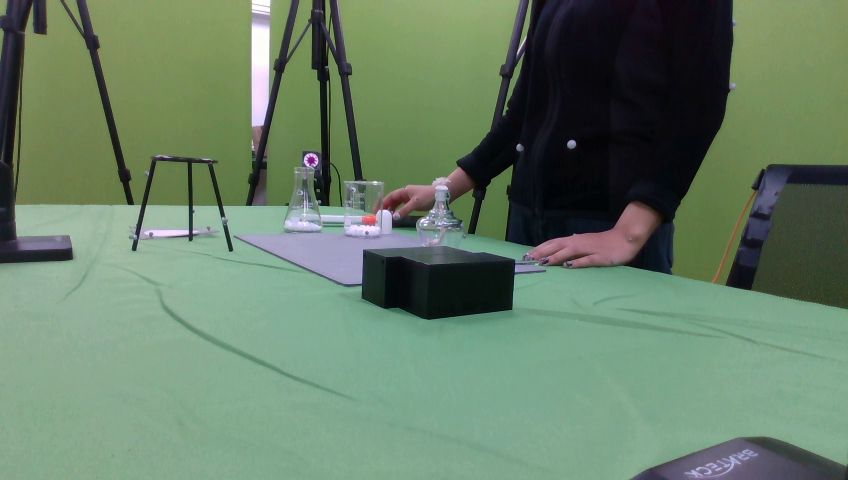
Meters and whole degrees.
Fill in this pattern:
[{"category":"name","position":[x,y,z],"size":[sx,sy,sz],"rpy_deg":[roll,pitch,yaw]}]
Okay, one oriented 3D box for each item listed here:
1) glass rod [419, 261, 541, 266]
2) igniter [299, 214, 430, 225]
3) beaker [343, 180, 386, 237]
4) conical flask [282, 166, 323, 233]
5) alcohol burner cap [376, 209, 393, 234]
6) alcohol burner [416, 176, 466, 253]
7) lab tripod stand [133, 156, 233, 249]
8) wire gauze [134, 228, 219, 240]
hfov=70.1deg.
[{"category":"glass rod","position":[0.080,0.031,0.807],"size":[0.201,0.008,0.008],"rpy_deg":[1,6,-32]},{"category":"igniter","position":[-0.123,-0.044,1.281],"size":[0.278,0.025,0.057],"rpy_deg":[0,-3,-19]},{"category":"beaker","position":[-0.111,-0.058,1.090],"size":[0.083,0.100,0.074],"rpy_deg":[7,8,33]},{"category":"conical flask","position":[-0.225,-0.076,1.129],"size":[0.075,0.122,0.075],"rpy_deg":[2,8,0]},{"category":"alcohol burner cap","position":[-0.075,-0.036,1.150],"size":[0.034,0.048,0.034],"rpy_deg":[2,7,0]},{"category":"alcohol burner","position":[0.027,-0.039,0.934],"size":[0.078,0.119,0.078],"rpy_deg":[2,9,0]},{"category":"lab tripod stand","position":[-0.342,-0.054,0.878],"size":[0.148,0.131,0.148],"rpy_deg":[4,6,0]},{"category":"wire gauze","position":[-0.421,-0.014,1.024],"size":[0.122,0.011,0.124],"rpy_deg":[-2,7,-34]}]
